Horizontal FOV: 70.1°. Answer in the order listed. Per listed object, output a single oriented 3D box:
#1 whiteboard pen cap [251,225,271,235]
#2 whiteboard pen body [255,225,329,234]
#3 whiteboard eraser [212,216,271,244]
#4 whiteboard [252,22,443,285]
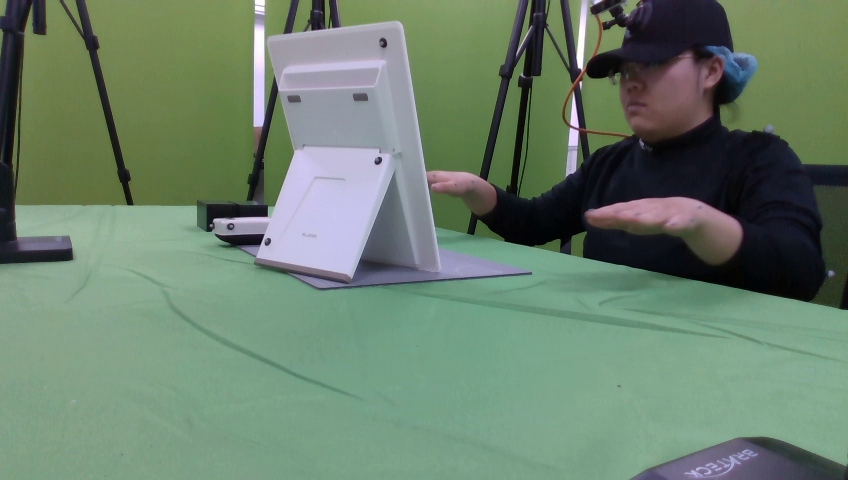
[{"bbox_3d":[-0.288,-0.019,1.071,0.033,0.018,0.018,-3,10,-34],"label":"whiteboard pen cap"},{"bbox_3d":[-0.239,-0.019,1.105,0.141,0.017,0.017,-2,9,-34],"label":"whiteboard pen body"},{"bbox_3d":[-0.266,-0.016,0.942,0.113,0.042,0.055,-2,10,-35],"label":"whiteboard eraser"},{"bbox_3d":[-0.125,-0.081,0.715,0.216,0.305,0.144,8,29,36],"label":"whiteboard"}]
